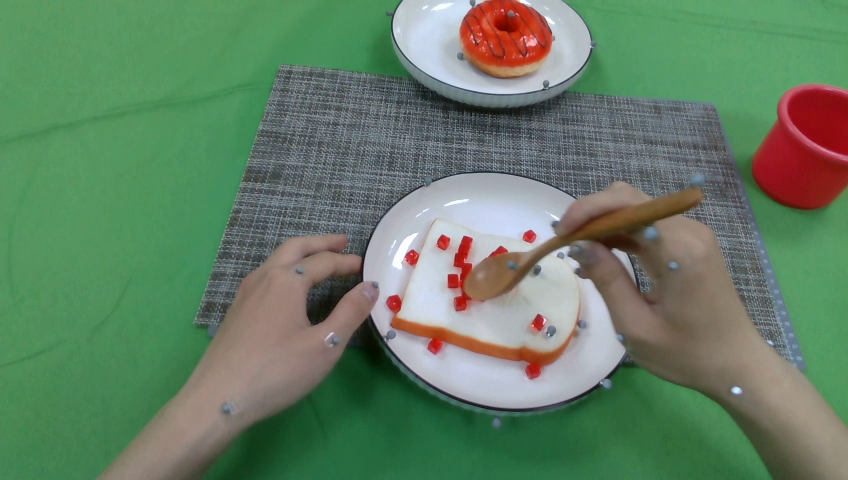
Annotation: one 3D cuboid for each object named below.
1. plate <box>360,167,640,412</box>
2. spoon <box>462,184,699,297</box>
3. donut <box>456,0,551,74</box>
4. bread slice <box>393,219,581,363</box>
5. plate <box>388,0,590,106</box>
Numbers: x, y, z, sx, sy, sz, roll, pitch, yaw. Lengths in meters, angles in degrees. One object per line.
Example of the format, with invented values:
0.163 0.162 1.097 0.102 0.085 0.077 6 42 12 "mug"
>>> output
0.056 0.033 0.461 0.209 0.038 0.207 2 55 -2 "plate"
0.077 0.003 0.356 0.022 0.193 0.041 36 62 -11 "spoon"
0.081 -0.211 0.624 0.099 0.048 0.098 3 55 -4 "donut"
0.053 0.037 0.462 0.131 0.019 0.104 13 55 8 "bread slice"
0.066 -0.206 0.633 0.208 0.039 0.205 3 53 -3 "plate"
